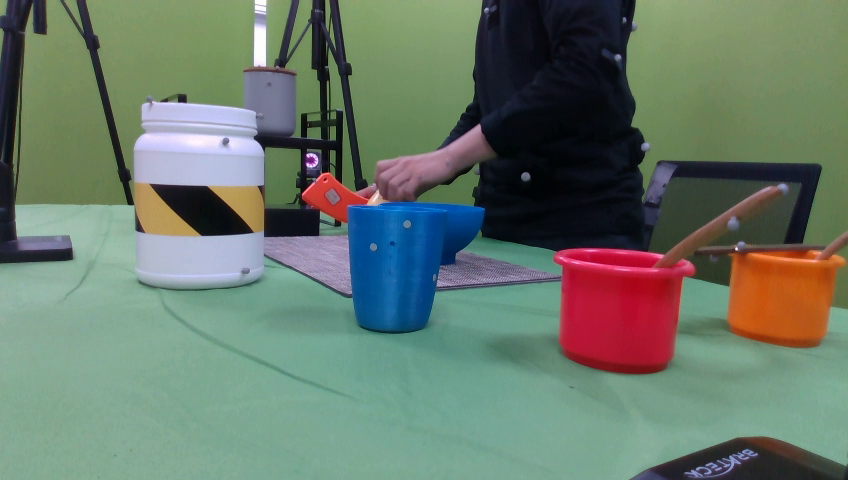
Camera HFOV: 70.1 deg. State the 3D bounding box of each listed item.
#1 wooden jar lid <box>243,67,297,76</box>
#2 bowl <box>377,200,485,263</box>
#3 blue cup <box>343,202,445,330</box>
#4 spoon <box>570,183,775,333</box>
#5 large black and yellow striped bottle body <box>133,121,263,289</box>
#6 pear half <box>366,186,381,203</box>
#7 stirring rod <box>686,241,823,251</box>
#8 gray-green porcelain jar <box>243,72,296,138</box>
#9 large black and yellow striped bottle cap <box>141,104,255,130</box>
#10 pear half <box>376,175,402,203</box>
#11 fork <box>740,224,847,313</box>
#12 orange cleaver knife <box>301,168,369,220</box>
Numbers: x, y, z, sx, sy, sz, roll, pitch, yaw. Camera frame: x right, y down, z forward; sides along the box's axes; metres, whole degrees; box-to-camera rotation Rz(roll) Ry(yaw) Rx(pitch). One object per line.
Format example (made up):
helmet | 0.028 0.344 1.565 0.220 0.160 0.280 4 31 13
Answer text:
wooden jar lid | -0.319 -0.342 1.254 0.108 0.020 0.108 3 8 0
bowl | 0.008 -0.012 0.842 0.151 0.077 0.151 3 7 0
blue cup | -0.027 0.021 0.510 0.093 0.100 0.092 3 5 0
spoon | 0.160 0.020 0.413 0.042 0.021 0.193 0 -36 -24
large black and yellow striped bottle body | -0.243 -0.048 0.659 0.131 0.184 0.130 2 7 0
pear half | -0.093 -0.053 1.081 0.031 0.088 0.070 3 11 3
stirring rod | 0.289 0.005 0.525 0.177 0.006 0.014 -1 5 -26
gray-green porcelain jar | -0.322 -0.279 1.263 0.106 0.126 0.106 3 8 0
large black and yellow striped bottle cap | -0.241 -0.131 0.650 0.115 0.019 0.115 3 8 0
pear half | -0.058 -0.060 1.076 0.056 0.110 0.076 3 12 4
fork | 0.323 0.013 0.485 0.028 0.018 0.207 9 -38 -5
orange cleaver knife | -0.144 -0.074 1.176 0.212 0.077 0.012 24 9 -44
